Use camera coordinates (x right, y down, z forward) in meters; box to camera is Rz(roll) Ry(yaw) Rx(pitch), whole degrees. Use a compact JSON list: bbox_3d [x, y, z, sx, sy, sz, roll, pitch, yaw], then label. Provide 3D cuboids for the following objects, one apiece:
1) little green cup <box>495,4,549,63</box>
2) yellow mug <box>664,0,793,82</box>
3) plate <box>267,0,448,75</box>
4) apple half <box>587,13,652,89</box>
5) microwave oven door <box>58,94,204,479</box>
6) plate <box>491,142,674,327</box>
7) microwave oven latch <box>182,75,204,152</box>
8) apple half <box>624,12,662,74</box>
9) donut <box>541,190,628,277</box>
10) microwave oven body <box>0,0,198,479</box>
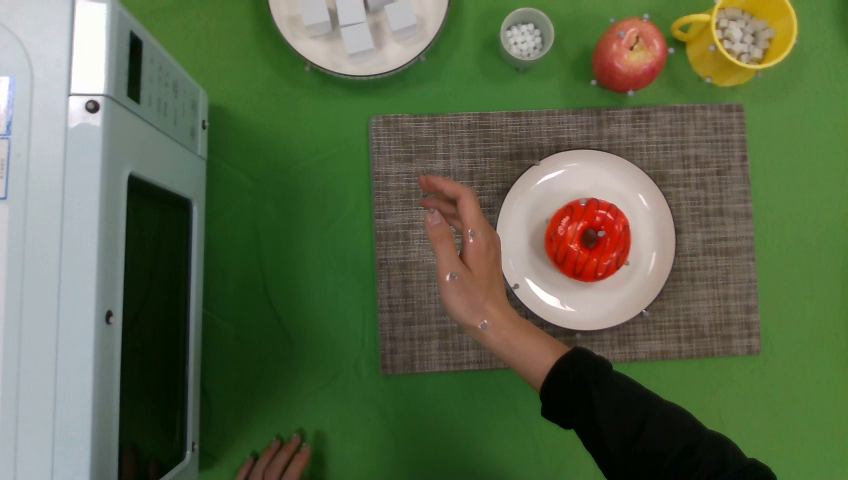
[{"bbox_3d":[0.112,-0.238,0.707,0.061,0.038,0.061,0,87,-2],"label":"little green cup"},{"bbox_3d":[0.347,-0.246,0.705,0.131,0.064,0.100,8,86,-2],"label":"yellow mug"},{"bbox_3d":[-0.076,-0.290,0.700,0.208,0.039,0.207,0,87,-3],"label":"plate"},{"bbox_3d":[0.216,-0.209,0.694,0.053,0.074,0.081,-29,92,0],"label":"apple half"},{"bbox_3d":[-0.257,0.075,0.553,0.039,0.244,0.355,0,87,-3],"label":"microwave oven door"},{"bbox_3d":[0.178,-0.006,0.695,0.209,0.038,0.209,0,87,-3],"label":"plate"},{"bbox_3d":[-0.258,-0.138,0.664,0.030,0.029,0.079,2,88,-3],"label":"microwave oven latch"},{"bbox_3d":[0.250,-0.228,0.695,0.033,0.081,0.081,-29,88,1],"label":"apple half"},{"bbox_3d":[0.181,-0.007,0.684,0.099,0.048,0.099,0,89,-1],"label":"donut"},{"bbox_3d":[-0.402,0.032,0.552,0.326,0.260,0.441,0,88,-3],"label":"microwave oven body"}]
